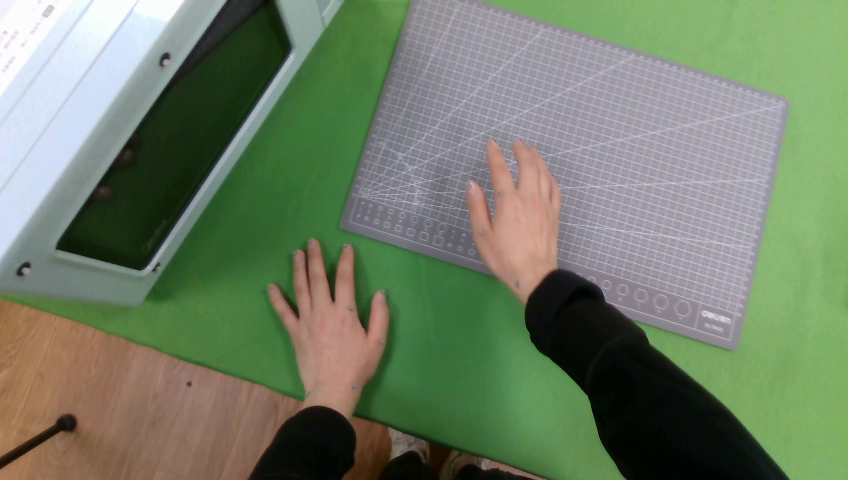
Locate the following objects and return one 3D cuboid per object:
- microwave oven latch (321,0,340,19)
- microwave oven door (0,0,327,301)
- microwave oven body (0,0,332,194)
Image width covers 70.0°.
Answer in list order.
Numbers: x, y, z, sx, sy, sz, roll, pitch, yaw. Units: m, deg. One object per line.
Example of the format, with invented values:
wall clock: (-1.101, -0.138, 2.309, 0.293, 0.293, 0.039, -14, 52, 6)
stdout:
microwave oven latch: (-0.094, -0.281, 0.653, 0.030, 0.029, 0.079, 33, 83, 1)
microwave oven door: (-0.206, -0.111, 0.522, 0.039, 0.244, 0.355, 31, 82, 2)
microwave oven body: (-0.309, -0.222, 0.536, 0.326, 0.260, 0.441, 31, 83, 1)
